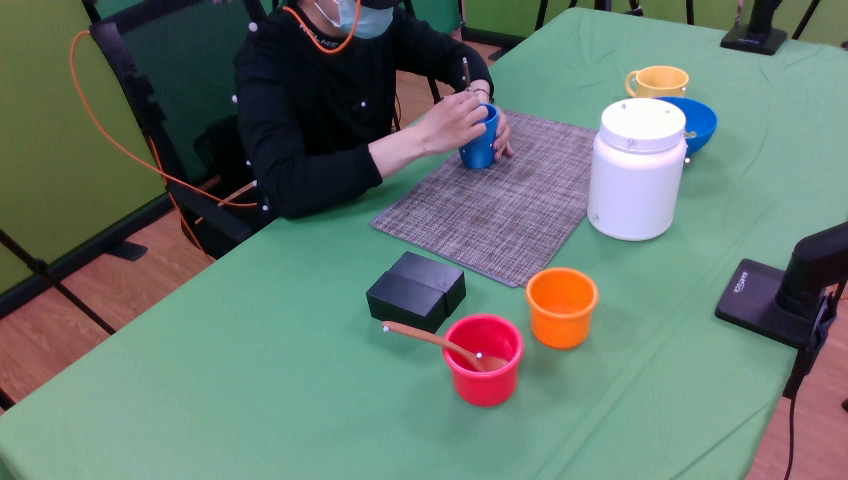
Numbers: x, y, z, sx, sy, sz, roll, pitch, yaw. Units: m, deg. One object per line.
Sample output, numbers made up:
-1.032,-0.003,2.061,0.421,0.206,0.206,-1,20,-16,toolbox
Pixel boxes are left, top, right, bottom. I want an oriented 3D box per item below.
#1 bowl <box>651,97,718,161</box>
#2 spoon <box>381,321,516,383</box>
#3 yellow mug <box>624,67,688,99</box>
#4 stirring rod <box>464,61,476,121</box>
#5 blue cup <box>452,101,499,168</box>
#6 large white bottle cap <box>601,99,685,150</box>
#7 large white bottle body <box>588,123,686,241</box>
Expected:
0.439,-0.187,1.087,0.151,0.077,0.150,-4,41,4,bowl
0.033,0.131,0.726,0.195,0.021,0.041,29,30,-26,spoon
0.464,-0.305,1.230,0.100,0.064,0.129,-34,46,-27,yellow mug
0.088,-0.241,1.094,0.006,0.177,0.014,-2,43,14,stirring rod
0.098,-0.190,1.116,0.092,0.100,0.092,-6,39,5,blue cup
0.314,-0.168,0.870,0.115,0.018,0.114,-4,41,4,large white bottle cap
0.324,-0.105,0.926,0.130,0.185,0.130,-5,41,4,large white bottle body
